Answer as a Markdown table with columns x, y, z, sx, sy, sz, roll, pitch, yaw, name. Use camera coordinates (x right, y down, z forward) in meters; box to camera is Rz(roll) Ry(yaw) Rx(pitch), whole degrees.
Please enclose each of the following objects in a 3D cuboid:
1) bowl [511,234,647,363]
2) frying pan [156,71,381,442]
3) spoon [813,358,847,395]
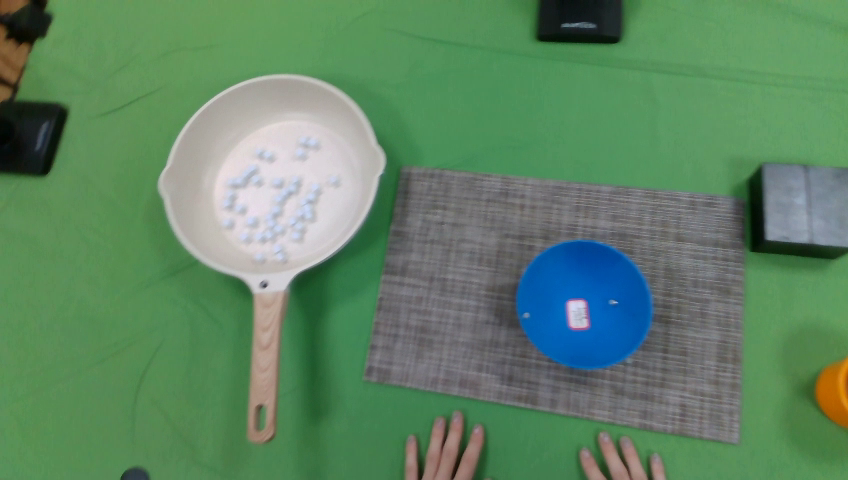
| x | y | z | sx | sy | sz | roll | pitch | yaw | name |
| --- | --- | --- | --- | --- | --- | --- | --- | --- | --- |
| 0.181 | 0.075 | 0.724 | 0.151 | 0.077 | 0.150 | -2 | 74 | 7 | bowl |
| -0.201 | 0.008 | 0.782 | 0.306 | 0.103 | 0.484 | -5 | 65 | 7 | frying pan |
| 0.512 | 0.153 | 0.627 | 0.022 | 0.192 | 0.041 | 27 | 74 | -31 | spoon |
